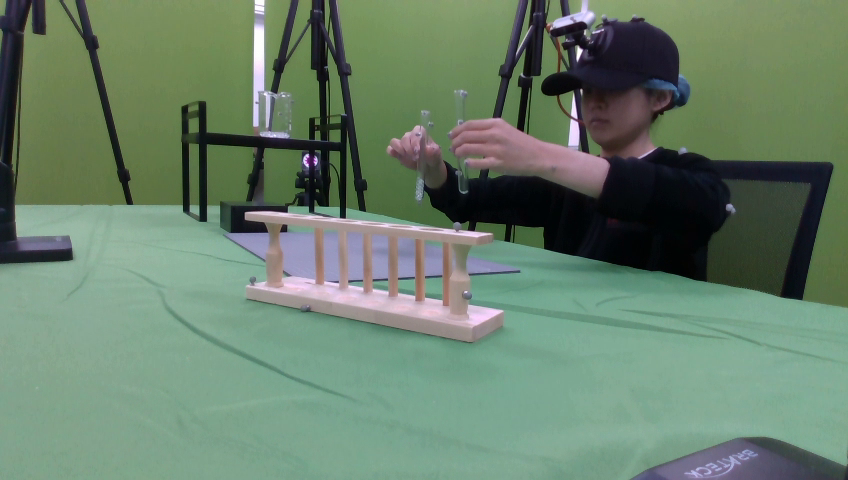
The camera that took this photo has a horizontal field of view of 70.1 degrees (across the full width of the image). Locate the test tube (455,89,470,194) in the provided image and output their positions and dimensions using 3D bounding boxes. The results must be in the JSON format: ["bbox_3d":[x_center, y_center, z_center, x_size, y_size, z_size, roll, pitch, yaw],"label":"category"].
[{"bbox_3d":[0.057,-0.140,0.872,0.017,0.150,0.017,-3,13,1],"label":"test tube"}]

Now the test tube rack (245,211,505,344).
[{"bbox_3d":[-0.049,0.025,0.547,0.241,0.085,0.067,7,8,28],"label":"test tube rack"}]

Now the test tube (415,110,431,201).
[{"bbox_3d":[-0.002,-0.137,0.992,0.017,0.150,0.017,5,18,-1],"label":"test tube"}]

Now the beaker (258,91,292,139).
[{"bbox_3d":[-0.331,-0.276,1.343,0.074,0.100,0.083,0,8,-20],"label":"beaker"}]
